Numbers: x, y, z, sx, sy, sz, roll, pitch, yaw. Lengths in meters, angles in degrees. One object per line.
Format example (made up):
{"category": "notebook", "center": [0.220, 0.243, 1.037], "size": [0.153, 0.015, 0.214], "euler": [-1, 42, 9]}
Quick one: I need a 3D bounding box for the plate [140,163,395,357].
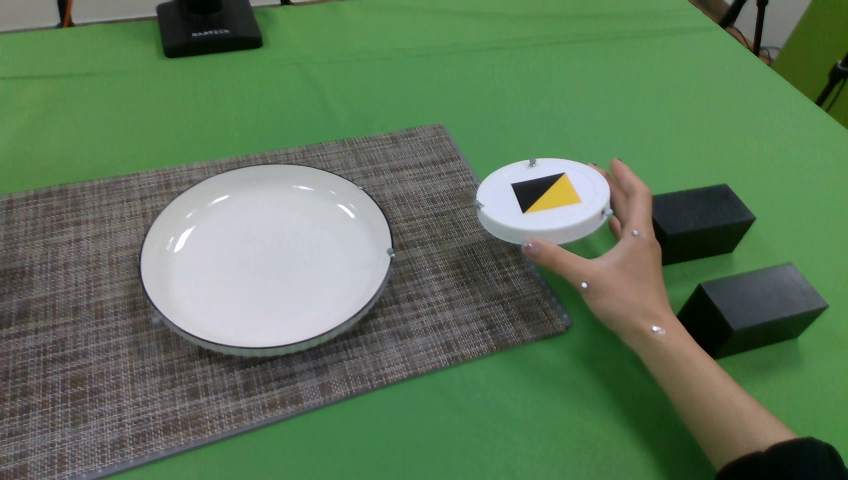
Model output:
{"category": "plate", "center": [-0.129, 0.015, 0.524], "size": [0.208, 0.039, 0.205], "euler": [4, 48, -4]}

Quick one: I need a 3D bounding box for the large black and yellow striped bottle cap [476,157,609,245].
{"category": "large black and yellow striped bottle cap", "center": [0.103, -0.037, 0.530], "size": [0.115, 0.019, 0.114], "euler": [-6, 38, 5]}
